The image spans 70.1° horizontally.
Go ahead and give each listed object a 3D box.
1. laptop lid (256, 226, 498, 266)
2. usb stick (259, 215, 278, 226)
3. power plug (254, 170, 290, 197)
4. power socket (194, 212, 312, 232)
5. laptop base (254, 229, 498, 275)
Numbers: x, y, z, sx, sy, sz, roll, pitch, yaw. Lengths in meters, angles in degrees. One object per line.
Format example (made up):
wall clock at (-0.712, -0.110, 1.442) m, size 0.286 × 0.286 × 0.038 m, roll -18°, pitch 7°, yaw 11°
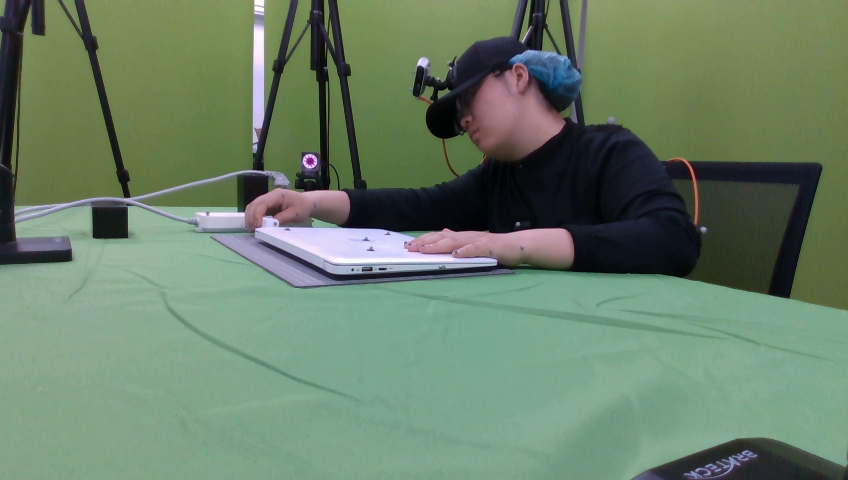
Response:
laptop lid at (-0.085, 0.005, 0.878) m, size 0.243 × 0.013 × 0.355 m, roll 1°, pitch 7°, yaw -29°
usb stick at (-0.259, -0.024, 1.007) m, size 0.021 × 0.027 × 0.059 m, roll 5°, pitch 11°, yaw -28°
power plug at (-0.323, -0.119, 1.285) m, size 0.073 × 0.052 × 0.035 m, roll 2°, pitch -13°, yaw -13°
power socket at (-0.322, -0.037, 1.153) m, size 0.228 × 0.032 × 0.072 m, roll -2°, pitch 8°, yaw -34°
laptop base at (-0.088, 0.016, 0.878) m, size 0.237 × 0.023 × 0.352 m, roll 2°, pitch 6°, yaw -31°
